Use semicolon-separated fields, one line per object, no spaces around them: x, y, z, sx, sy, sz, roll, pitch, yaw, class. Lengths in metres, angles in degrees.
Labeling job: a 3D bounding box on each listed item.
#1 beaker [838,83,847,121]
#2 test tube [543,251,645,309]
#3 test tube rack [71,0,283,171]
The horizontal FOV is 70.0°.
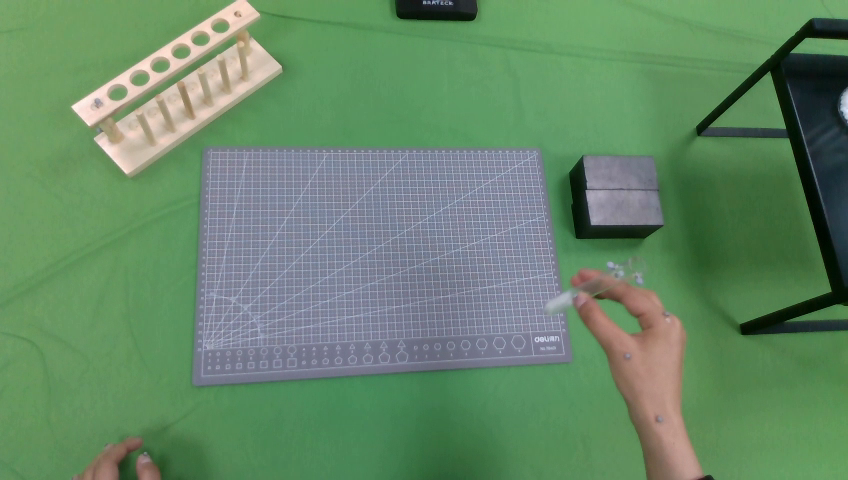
0.529;-0.173;0.679;0.084;0.100;0.073;-6;72;-10;beaker
0.145;0.039;0.539;0.017;0.150;0.017;6;70;-16;test tube
-0.293;-0.197;0.749;0.066;0.085;0.242;45;70;8;test tube rack
